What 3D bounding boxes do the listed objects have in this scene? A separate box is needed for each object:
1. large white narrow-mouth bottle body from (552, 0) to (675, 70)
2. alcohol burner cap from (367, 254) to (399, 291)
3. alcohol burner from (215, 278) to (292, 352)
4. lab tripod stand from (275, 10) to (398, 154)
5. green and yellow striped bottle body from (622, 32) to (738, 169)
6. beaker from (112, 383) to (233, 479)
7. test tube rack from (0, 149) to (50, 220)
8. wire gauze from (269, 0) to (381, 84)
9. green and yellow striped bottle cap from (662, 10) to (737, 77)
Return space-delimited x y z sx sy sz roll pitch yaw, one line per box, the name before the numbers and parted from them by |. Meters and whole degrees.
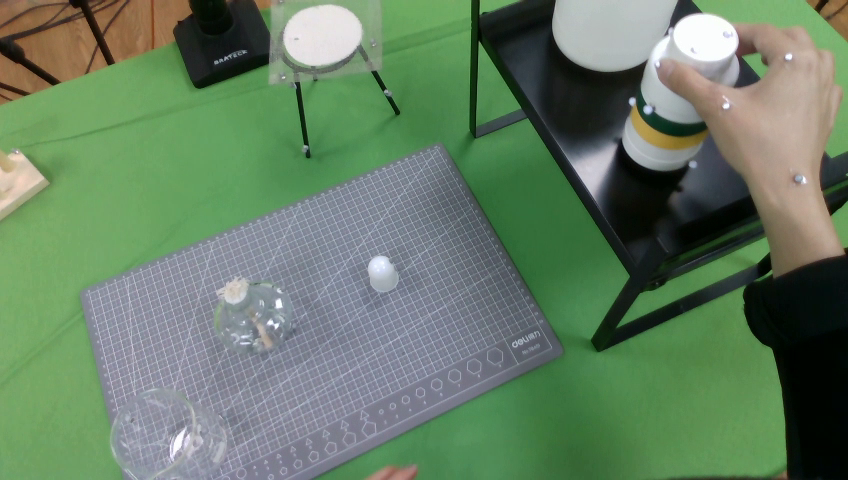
large white narrow-mouth bottle body | 0.164 -0.236 0.490 0.102 0.196 0.101 -2 65 4
alcohol burner cap | -0.046 0.032 0.654 0.034 0.048 0.033 -1 64 3
alcohol burner | -0.174 0.068 0.604 0.078 0.120 0.077 -1 63 2
lab tripod stand | -0.110 -0.191 0.715 0.148 0.132 0.147 -1 63 2
green and yellow striped bottle body | 0.194 -0.112 0.462 0.063 0.120 0.062 -2 64 5
beaker | -0.226 0.184 0.560 0.074 0.101 0.083 2 65 5
test tube rack | -0.571 -0.028 0.688 0.066 0.086 0.242 40 73 19
wire gauze | -0.107 -0.225 0.656 0.121 0.011 0.124 -4 65 -1
green and yellow striped bottle cap | 0.189 -0.136 0.416 0.045 0.020 0.045 -1 65 3
